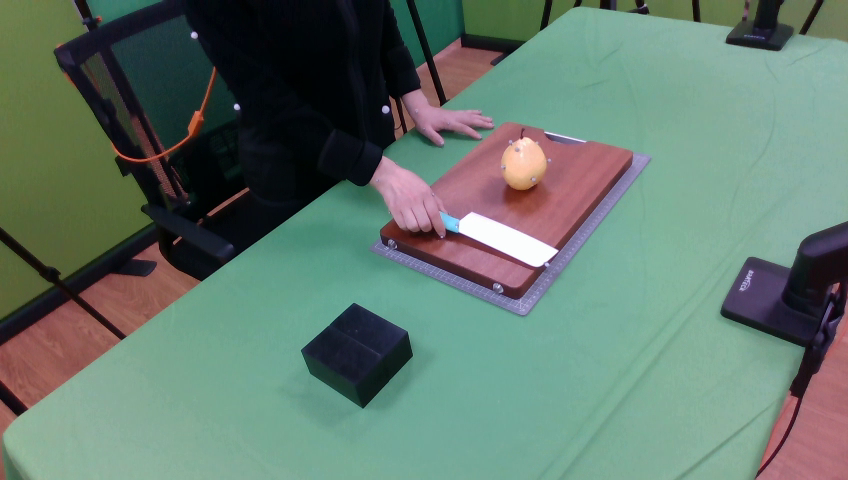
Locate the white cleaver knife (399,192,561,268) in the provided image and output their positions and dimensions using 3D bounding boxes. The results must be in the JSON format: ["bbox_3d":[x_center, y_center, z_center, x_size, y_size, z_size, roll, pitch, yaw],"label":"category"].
[{"bbox_3d":[0.079,-0.021,0.956,0.284,0.021,0.066,26,43,28],"label":"white cleaver knife"}]

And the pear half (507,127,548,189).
[{"bbox_3d":[0.175,-0.145,1.011,0.076,0.110,0.056,27,52,30],"label":"pear half"}]

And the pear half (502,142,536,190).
[{"bbox_3d":[0.152,-0.119,1.000,0.070,0.088,0.031,27,53,30],"label":"pear half"}]
